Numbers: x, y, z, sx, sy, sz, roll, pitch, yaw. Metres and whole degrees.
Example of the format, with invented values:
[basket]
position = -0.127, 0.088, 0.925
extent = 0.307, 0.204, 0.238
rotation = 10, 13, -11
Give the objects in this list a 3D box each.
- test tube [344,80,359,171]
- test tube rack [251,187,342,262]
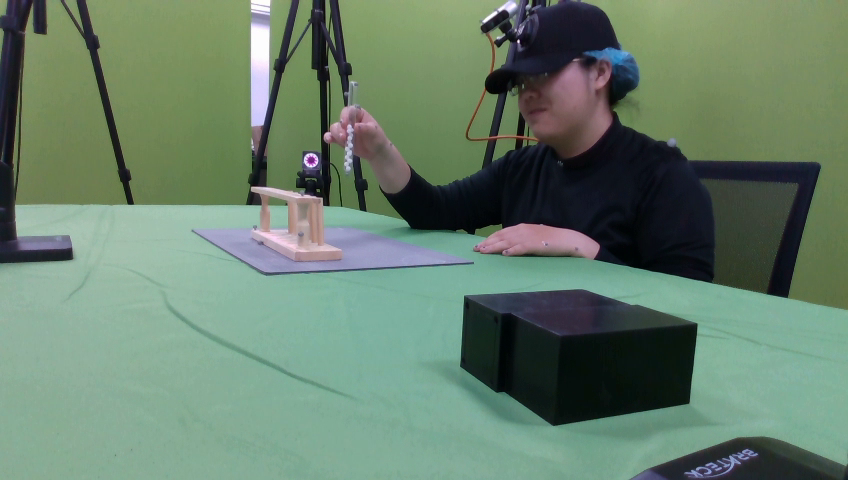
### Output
[test tube]
position = -0.122, -0.191, 1.013
extent = 0.017, 0.150, 0.017
rotation = 4, 3, 0
[test tube rack]
position = -0.196, -0.030, 0.902
extent = 0.067, 0.085, 0.241
rotation = -1, 8, -29
